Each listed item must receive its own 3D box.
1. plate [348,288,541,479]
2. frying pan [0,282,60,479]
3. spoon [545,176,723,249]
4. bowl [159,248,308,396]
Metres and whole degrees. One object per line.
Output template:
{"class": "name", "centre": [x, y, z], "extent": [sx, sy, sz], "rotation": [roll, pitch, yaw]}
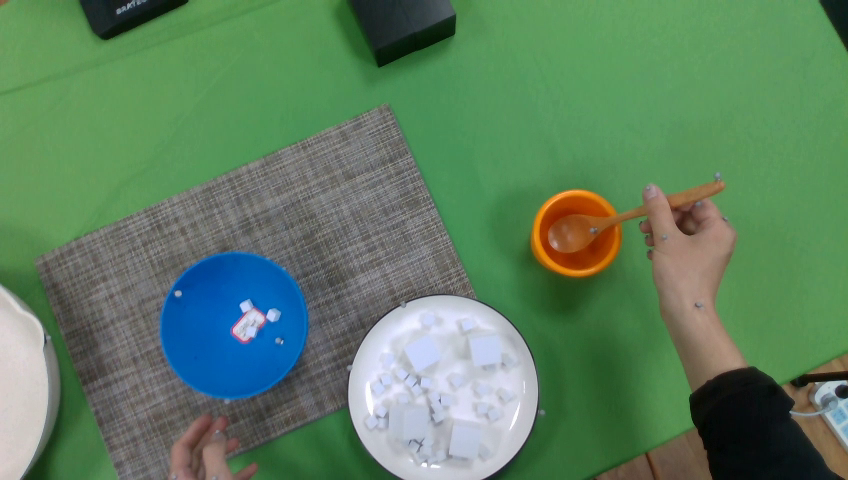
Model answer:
{"class": "plate", "centre": [0.022, 0.156, 0.666], "extent": [0.208, 0.039, 0.207], "rotation": [0, 87, 0]}
{"class": "frying pan", "centre": [-0.485, 0.252, 0.633], "extent": [0.307, 0.103, 0.485], "rotation": [-28, 77, -1]}
{"class": "spoon", "centre": [0.202, -0.027, 0.607], "extent": [0.022, 0.193, 0.041], "rotation": [-15, 86, -41]}
{"class": "bowl", "centre": [-0.193, 0.086, 0.653], "extent": [0.151, 0.077, 0.151], "rotation": [0, 85, 1]}
